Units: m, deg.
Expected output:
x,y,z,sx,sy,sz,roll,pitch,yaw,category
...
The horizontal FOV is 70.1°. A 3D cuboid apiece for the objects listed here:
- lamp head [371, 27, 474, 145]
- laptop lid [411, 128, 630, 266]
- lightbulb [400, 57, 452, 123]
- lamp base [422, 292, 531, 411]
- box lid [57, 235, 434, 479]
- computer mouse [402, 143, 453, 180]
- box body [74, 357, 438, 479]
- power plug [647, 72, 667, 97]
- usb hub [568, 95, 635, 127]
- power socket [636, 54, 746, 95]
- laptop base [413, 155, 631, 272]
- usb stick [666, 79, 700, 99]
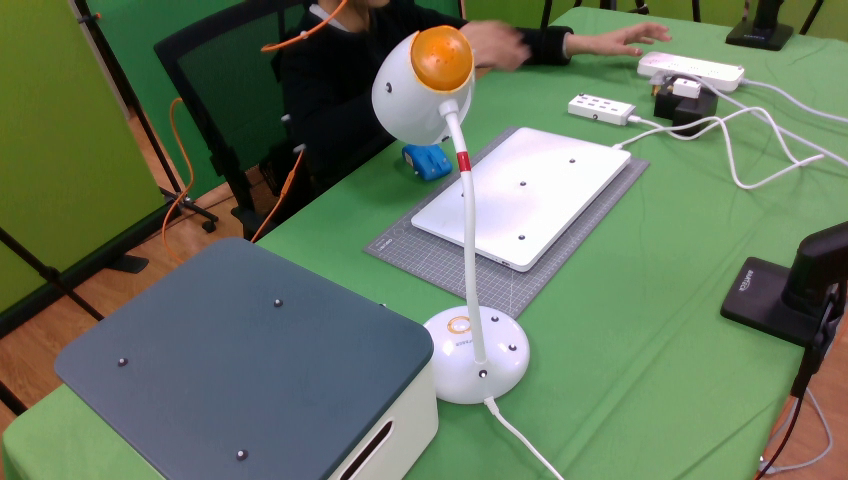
x,y,z,sx,sy,sz,roll,pitch,yaw,category
0.007,-0.167,0.644,0.113,0.112,0.122,-22,2,-14,lamp head
0.172,-0.093,1.049,0.239,0.013,0.358,23,49,36,laptop lid
0.003,-0.169,0.668,0.059,0.108,0.059,1,79,-2,lightbulb
0.054,0.095,0.740,0.161,0.181,0.177,-19,43,-11,lamp base
-0.198,0.123,0.653,0.368,0.015,0.264,22,49,32,box lid
0.006,-0.159,1.165,0.063,0.041,0.116,-21,45,-16,computer mouse
-0.189,0.179,0.702,0.361,0.161,0.255,22,49,32,box body
0.493,-0.321,1.261,0.073,0.052,0.035,0,21,-41,power plug
0.360,-0.263,1.228,0.124,0.025,0.049,25,49,33,usb hub
0.565,-0.356,1.293,0.225,0.033,0.072,23,51,33,power socket
0.176,-0.084,1.055,0.233,0.023,0.355,21,48,36,laptop base
0.492,-0.288,1.152,0.058,0.027,0.021,20,50,34,usb stick
